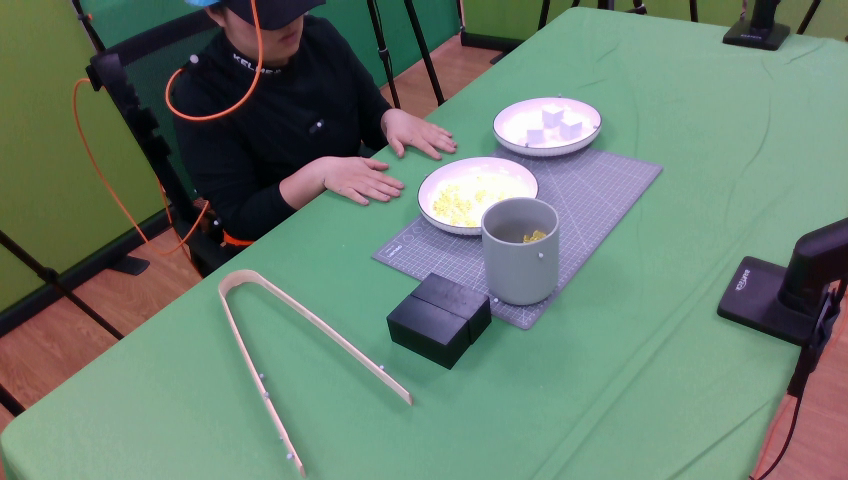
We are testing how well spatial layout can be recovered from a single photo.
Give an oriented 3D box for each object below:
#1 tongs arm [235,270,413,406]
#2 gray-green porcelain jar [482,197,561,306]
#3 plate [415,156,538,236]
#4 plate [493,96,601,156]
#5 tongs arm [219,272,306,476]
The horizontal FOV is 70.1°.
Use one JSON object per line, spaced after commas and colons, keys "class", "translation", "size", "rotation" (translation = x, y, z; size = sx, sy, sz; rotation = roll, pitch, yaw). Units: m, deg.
{"class": "tongs arm", "translation": [-0.153, 0.127, 0.858], "size": [0.384, 0.028, 0.028], "rotation": [28, 55, 36]}
{"class": "gray-green porcelain jar", "translation": [0.137, 0.020, 0.846], "size": [0.106, 0.127, 0.105], "rotation": [-5, 40, 5]}
{"class": "plate", "translation": [0.090, -0.072, 1.034], "size": [0.207, 0.039, 0.206], "rotation": [-5, 40, 5]}
{"class": "plate", "translation": [0.238, -0.218, 1.180], "size": [0.209, 0.038, 0.208], "rotation": [-4, 39, 4]}
{"class": "tongs arm", "translation": [-0.218, 0.161, 0.823], "size": [0.051, 0.026, 0.381], "rotation": [-26, 42, -21]}
